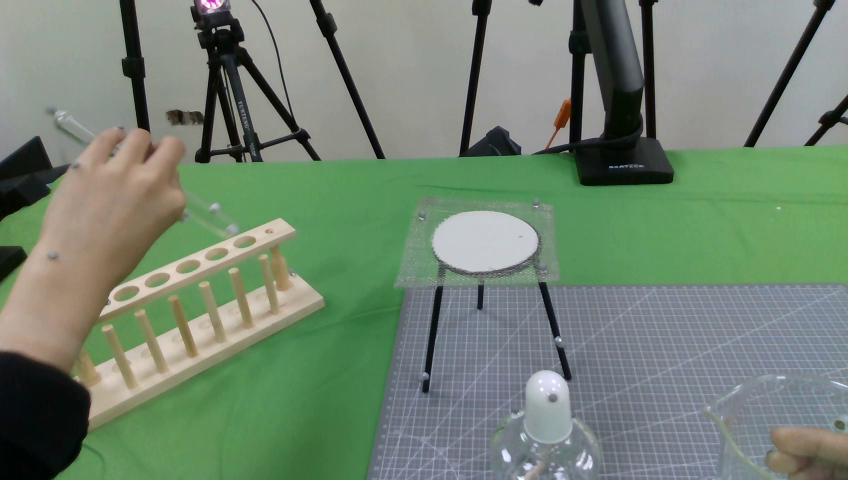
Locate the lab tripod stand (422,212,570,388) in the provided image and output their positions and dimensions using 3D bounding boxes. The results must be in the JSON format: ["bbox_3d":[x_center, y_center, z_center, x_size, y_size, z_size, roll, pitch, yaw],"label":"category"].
[{"bbox_3d":[0.058,0.054,0.526,0.148,0.132,0.147,-2,33,2],"label":"lab tripod stand"}]

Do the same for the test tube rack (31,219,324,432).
[{"bbox_3d":[-0.224,0.073,0.585,0.242,0.086,0.066,-27,40,-29],"label":"test tube rack"}]

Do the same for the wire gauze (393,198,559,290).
[{"bbox_3d":[0.044,0.000,0.487,0.121,0.011,0.124,1,35,8],"label":"wire gauze"}]

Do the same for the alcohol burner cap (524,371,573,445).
[{"bbox_3d":[0.081,0.107,0.397,0.034,0.048,0.033,-6,33,4],"label":"alcohol burner cap"}]

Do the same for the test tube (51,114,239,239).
[{"bbox_3d":[-0.203,-0.044,0.454,0.017,0.152,0.017,-26,44,29],"label":"test tube"}]

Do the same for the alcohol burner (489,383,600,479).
[{"bbox_3d":[0.083,0.137,0.417,0.078,0.120,0.077,-3,36,3],"label":"alcohol burner"}]

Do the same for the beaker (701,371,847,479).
[{"bbox_3d":[0.169,0.122,0.281,0.083,0.101,0.074,11,34,33],"label":"beaker"}]
